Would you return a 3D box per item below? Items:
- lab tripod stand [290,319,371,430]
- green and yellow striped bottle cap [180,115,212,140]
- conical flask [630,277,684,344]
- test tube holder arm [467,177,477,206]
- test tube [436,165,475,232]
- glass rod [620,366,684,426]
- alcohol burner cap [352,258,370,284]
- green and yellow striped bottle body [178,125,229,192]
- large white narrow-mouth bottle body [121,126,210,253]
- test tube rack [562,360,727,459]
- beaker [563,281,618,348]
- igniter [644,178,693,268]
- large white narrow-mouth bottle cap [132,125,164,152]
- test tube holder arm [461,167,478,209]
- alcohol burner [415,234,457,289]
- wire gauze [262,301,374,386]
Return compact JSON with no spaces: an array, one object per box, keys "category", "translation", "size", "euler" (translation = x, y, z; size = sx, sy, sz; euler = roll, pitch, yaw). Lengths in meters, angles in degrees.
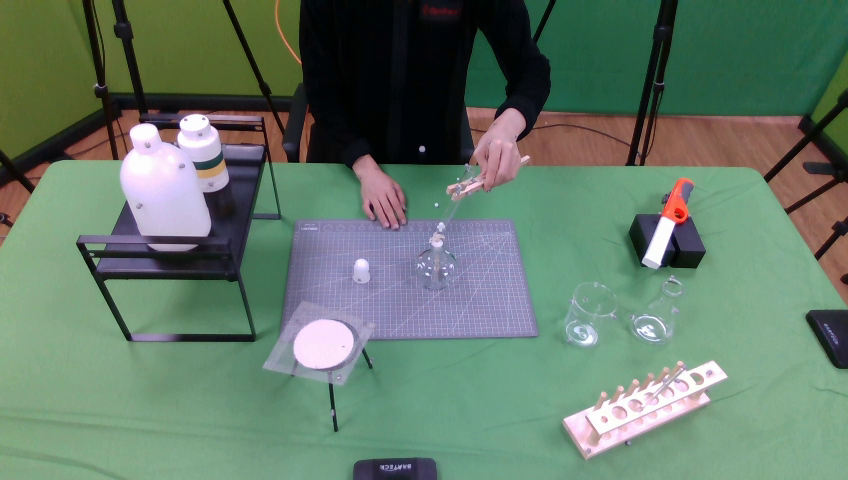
[{"category":"lab tripod stand","translation":[-0.146,0.193,0.923],"size":[0.148,0.132,0.147],"euler":[1,47,-1]},{"category":"green and yellow striped bottle cap","translation":[-0.358,-0.177,0.951],"size":[0.045,0.020,0.045],"euler":[2,44,-1]},{"category":"conical flask","translation":[0.408,0.117,1.045],"size":[0.075,0.122,0.075],"euler":[2,46,-2]},{"category":"test tube holder arm","translation":[0.078,-0.089,1.030],"size":[0.015,0.013,0.177],"euler":[-16,20,7]},{"category":"test tube","translation":[0.049,-0.065,0.992],"size":[0.017,0.151,0.017],"euler":[13,46,-13]},{"category":"glass rod","translation":[0.322,0.227,0.866],"size":[0.008,0.200,0.008],"euler":[6,51,-7]},{"category":"alcohol burner cap","translation":[-0.117,0.055,1.118],"size":[0.034,0.048,0.033],"euler":[1,46,-1]},{"category":"green and yellow striped bottle body","translation":[-0.361,-0.142,0.989],"size":[0.063,0.120,0.063],"euler":[2,46,-2]},{"category":"large white narrow-mouth bottle body","translation":[-0.378,-0.077,0.875],"size":[0.102,0.195,0.101],"euler":[3,46,-3]},{"category":"test tube rack","translation":[0.341,0.247,0.940],"size":[0.243,0.085,0.066],"euler":[-16,49,-18]},{"category":"beaker","translation":[0.283,0.129,1.041],"size":[0.074,0.101,0.083],"euler":[11,46,7]},{"category":"igniter","translation":[0.488,-0.042,1.204],"size":[0.057,0.025,0.276],"euler":[30,51,10]},{"category":"large white narrow-mouth bottle cap","translation":[-0.371,-0.137,0.814],"size":[0.038,0.024,0.037],"euler":[3,46,-3]},{"category":"test tube holder arm","translation":[0.075,-0.083,0.989],"size":[0.015,0.088,0.010],"euler":[-12,49,7]},{"category":"alcohol burner","translation":[0.022,0.033,1.100],"size":[0.078,0.120,0.077],"euler":[1,47,-1]},{"category":"wire gauze","translation":[-0.150,0.148,0.873],"size":[0.121,0.011,0.124],"euler":[14,46,12]}]
